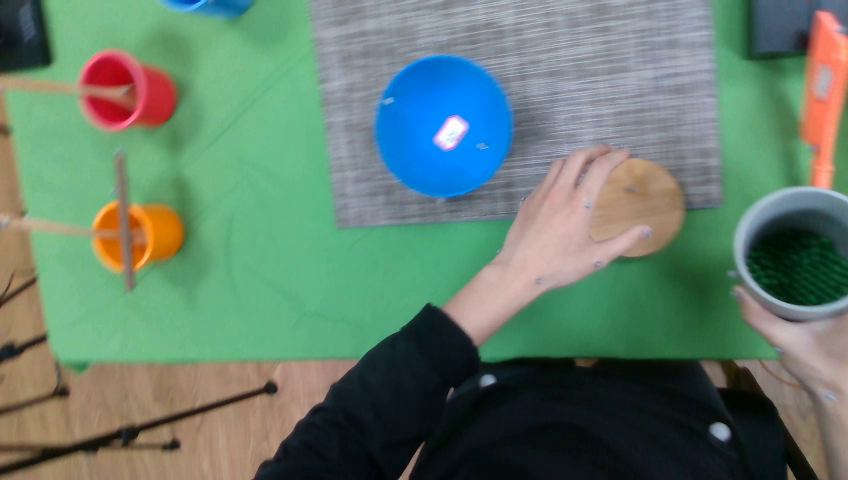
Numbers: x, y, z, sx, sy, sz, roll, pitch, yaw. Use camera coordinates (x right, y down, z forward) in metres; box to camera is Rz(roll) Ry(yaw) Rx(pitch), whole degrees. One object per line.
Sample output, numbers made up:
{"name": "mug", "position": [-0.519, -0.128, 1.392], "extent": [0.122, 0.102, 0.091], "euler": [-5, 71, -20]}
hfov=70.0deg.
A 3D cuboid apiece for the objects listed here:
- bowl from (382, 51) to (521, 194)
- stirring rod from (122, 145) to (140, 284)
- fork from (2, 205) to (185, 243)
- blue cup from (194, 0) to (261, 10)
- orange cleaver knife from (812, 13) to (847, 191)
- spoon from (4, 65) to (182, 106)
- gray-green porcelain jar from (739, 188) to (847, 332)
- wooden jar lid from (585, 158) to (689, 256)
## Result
{"name": "bowl", "position": [0.037, -0.127, 0.677], "extent": [0.151, 0.077, 0.151], "euler": [2, 98, 15]}
{"name": "stirring rod", "position": [-0.368, -0.031, 0.762], "extent": [0.014, 0.006, 0.176], "euler": [3, 98, 14]}
{"name": "fork", "position": [-0.418, -0.021, 0.779], "extent": [0.209, 0.018, 0.028], "euler": [9, 113, -31]}
{"name": "blue cup", "position": [-0.236, -0.315, 0.716], "extent": [0.092, 0.100, 0.093], "euler": [2, 99, 13]}
{"name": "orange cleaver knife", "position": [0.393, -0.106, 0.587], "extent": [0.012, 0.076, 0.213], "euler": [-6, 125, 12]}
{"name": "spoon", "position": [-0.407, -0.199, 0.756], "extent": [0.195, 0.021, 0.041], "euler": [2, 98, -29]}
{"name": "gray-green porcelain jar", "position": [0.340, 0.024, 0.541], "extent": [0.105, 0.127, 0.105], "euler": [-9, 70, 25]}
{"name": "wooden jar lid", "position": [0.233, -0.036, 0.667], "extent": [0.108, 0.020, 0.108], "euler": [3, 102, 16]}
